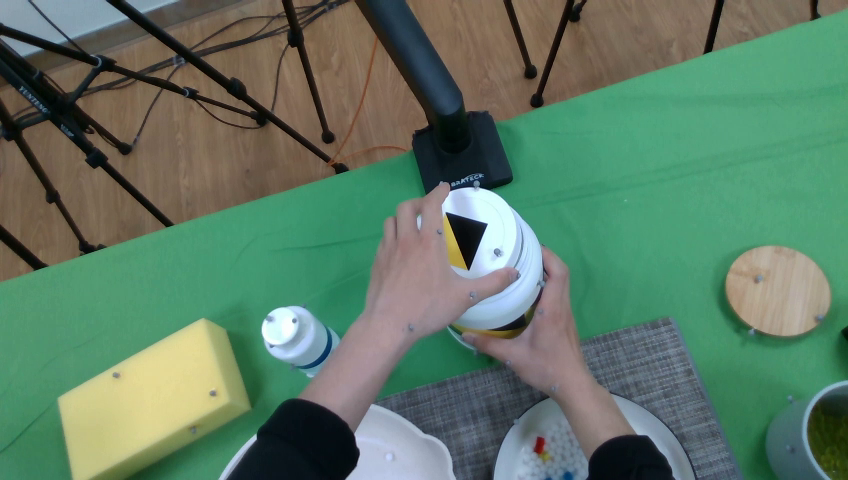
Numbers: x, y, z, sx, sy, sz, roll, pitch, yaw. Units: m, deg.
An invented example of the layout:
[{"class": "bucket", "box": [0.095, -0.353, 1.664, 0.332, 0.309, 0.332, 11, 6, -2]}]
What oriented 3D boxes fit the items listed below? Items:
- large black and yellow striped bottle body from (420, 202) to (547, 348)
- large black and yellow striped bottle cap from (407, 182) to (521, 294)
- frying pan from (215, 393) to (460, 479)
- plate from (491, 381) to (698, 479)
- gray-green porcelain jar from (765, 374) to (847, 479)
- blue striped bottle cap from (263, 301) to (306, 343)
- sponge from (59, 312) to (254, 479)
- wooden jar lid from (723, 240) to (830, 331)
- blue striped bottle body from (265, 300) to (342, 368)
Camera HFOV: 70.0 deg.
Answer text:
[{"class": "large black and yellow striped bottle body", "box": [0.067, 0.035, 0.671, 0.130, 0.185, 0.129, -5, 64, 12]}, {"class": "large black and yellow striped bottle cap", "box": [0.037, -0.003, 0.590, 0.114, 0.019, 0.114, -12, 61, 22]}, {"class": "frying pan", "box": [-0.033, 0.379, 0.590, 0.307, 0.104, 0.482, -39, 57, -5]}, {"class": "plate", "box": [0.175, 0.255, 0.635, 0.209, 0.038, 0.207, -4, 67, 10]}, {"class": "gray-green porcelain jar", "box": [0.392, 0.190, 0.573, 0.105, 0.127, 0.105, -4, 67, 10]}, {"class": "blue striped bottle cap", "box": [-0.155, 0.091, 0.672, 0.044, 0.021, 0.044, -6, 64, 12]}, {"class": "sponge", "box": [-0.333, 0.195, 0.756, 0.207, 0.061, 0.117, -29, 65, -2]}, {"class": "wooden jar lid", "box": [0.398, 0.052, 0.688, 0.108, 0.021, 0.107, -4, 69, 10]}, {"class": "blue striped bottle body", "box": [-0.145, 0.110, 0.719, 0.063, 0.122, 0.062, -4, 67, 10]}]
